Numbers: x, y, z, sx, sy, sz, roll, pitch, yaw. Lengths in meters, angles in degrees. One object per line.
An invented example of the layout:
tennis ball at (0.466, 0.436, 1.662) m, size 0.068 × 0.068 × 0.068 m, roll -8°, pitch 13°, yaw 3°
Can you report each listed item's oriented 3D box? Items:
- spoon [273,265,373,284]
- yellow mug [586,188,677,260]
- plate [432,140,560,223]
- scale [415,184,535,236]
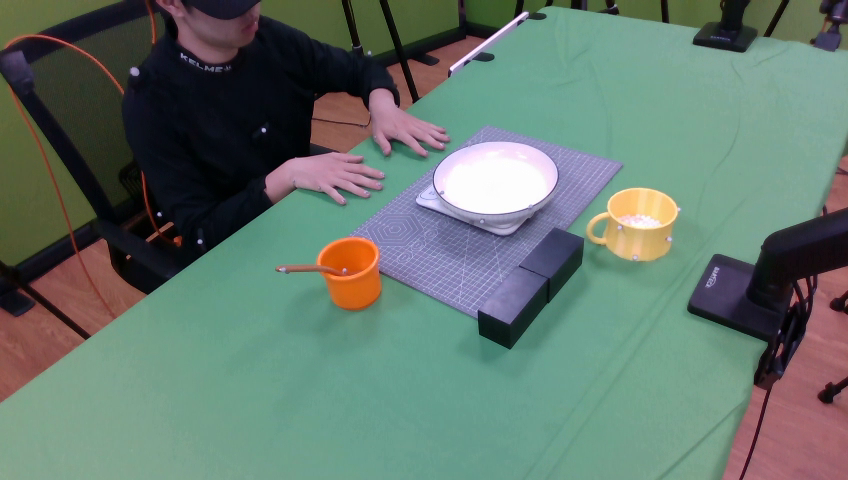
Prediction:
spoon at (-0.136, 0.045, 0.839) m, size 0.041 × 0.195 × 0.021 m, roll 18°, pitch 91°, yaw 33°
yellow mug at (0.311, -0.022, 0.916) m, size 0.131 × 0.064 × 0.099 m, roll -8°, pitch 40°, yaw 0°
plate at (0.118, -0.094, 0.999) m, size 0.209 × 0.038 × 0.208 m, roll -4°, pitch 41°, yaw 4°
scale at (0.099, -0.080, 1.035) m, size 0.199 × 0.032 × 0.149 m, roll 23°, pitch 48°, yaw 31°
